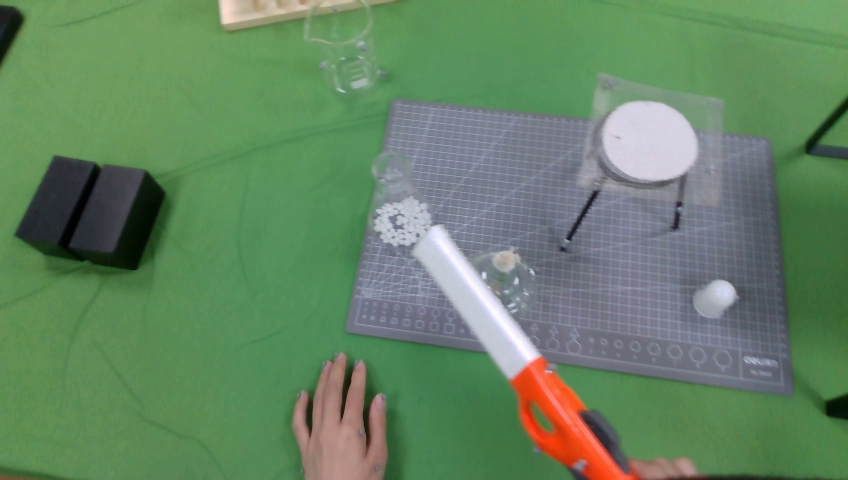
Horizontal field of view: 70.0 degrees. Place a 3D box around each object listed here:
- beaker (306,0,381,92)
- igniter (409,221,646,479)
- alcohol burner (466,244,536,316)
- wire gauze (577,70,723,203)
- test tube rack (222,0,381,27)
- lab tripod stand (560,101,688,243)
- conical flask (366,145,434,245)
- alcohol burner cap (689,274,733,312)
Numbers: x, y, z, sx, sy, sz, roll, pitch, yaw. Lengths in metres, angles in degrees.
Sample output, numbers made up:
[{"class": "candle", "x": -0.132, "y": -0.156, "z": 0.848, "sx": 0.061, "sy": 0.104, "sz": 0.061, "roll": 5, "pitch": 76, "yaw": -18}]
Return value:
[{"class": "beaker", "x": -0.093, "y": -0.230, "z": 0.716, "sx": 0.084, "sy": 0.101, "sz": 0.073, "roll": -32, "pitch": 69, "yaw": -11}, {"class": "igniter", "x": 0.077, "y": 0.098, "z": 0.431, "sx": 0.025, "sy": 0.057, "sz": 0.274, "roll": -16, "pitch": 61, "yaw": -47}, {"class": "alcohol burner", "x": 0.073, "y": 0.034, "z": 0.588, "sx": 0.078, "sy": 0.120, "sz": 0.077, "roll": 0, "pitch": 65, "yaw": 0}, {"class": "wire gauze", "x": 0.211, "y": -0.096, "z": 0.555, "sx": 0.121, "sy": 0.011, "sz": 0.124, "roll": 13, "pitch": 68, "yaw": 5}, {"class": "test tube rack", "x": -0.148, "y": -0.348, "z": 0.775, "sx": 0.242, "sy": 0.086, "sz": 0.066, "roll": -11, "pitch": 67, "yaw": -3}, {"class": "lab tripod stand", "x": 0.205, "y": -0.066, "z": 0.616, "sx": 0.148, "sy": 0.132, "sz": 0.147, "roll": 0, "pitch": 65, "yaw": 0}, {"class": "conical flask", "x": -0.029, "y": -0.050, "z": 0.622, "sx": 0.075, "sy": 0.123, "sz": 0.075, "roll": -1, "pitch": 66, "yaw": 2}, {"class": "alcohol burner cap", "x": 0.294, "y": 0.051, "z": 0.614, "sx": 0.034, "sy": 0.048, "sz": 0.033, "roll": -1, "pitch": 67, "yaw": 2}]
